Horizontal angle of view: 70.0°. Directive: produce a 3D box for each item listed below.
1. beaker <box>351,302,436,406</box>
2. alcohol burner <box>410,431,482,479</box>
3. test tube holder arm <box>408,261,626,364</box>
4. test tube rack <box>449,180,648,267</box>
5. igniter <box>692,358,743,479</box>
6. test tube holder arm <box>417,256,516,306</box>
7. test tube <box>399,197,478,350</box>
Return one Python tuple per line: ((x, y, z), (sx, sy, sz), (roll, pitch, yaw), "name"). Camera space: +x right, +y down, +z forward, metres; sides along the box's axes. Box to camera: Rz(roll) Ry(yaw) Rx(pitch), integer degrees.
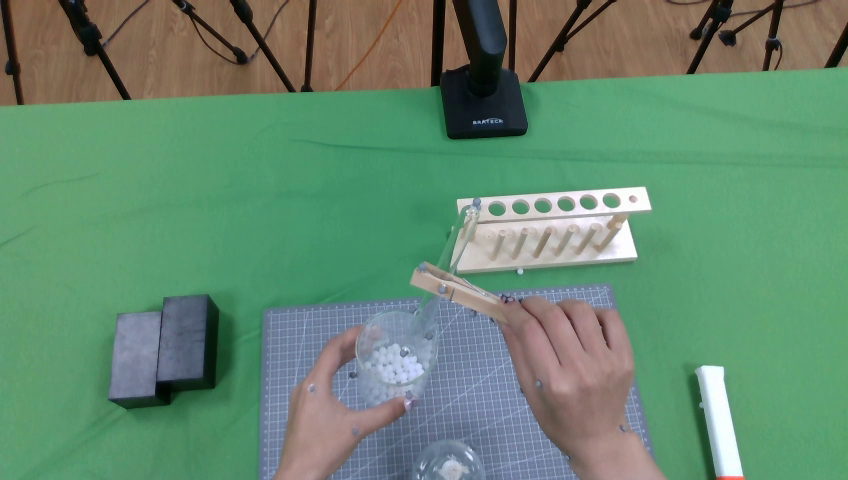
((-0.029, 0.112, 0.579), (0.084, 0.101, 0.073), (-30, 68, -22), "beaker")
((0.025, 0.237, 0.634), (0.078, 0.120, 0.077), (2, 62, -3), "alcohol burner")
((0.071, 0.057, 0.476), (0.178, 0.015, 0.013), (23, 26, 10), "test tube holder arm")
((0.159, -0.020, 0.783), (0.243, 0.086, 0.066), (-4, 65, -5), "test tube rack")
((0.344, 0.271, 0.688), (0.057, 0.025, 0.274), (6, 64, -11), "igniter")
((0.033, 0.037, 0.491), (0.087, 0.015, 0.010), (27, 26, 18), "test tube holder arm")
((0.010, 0.031, 0.494), (0.017, 0.151, 0.017), (18, 28, -9), "test tube")
